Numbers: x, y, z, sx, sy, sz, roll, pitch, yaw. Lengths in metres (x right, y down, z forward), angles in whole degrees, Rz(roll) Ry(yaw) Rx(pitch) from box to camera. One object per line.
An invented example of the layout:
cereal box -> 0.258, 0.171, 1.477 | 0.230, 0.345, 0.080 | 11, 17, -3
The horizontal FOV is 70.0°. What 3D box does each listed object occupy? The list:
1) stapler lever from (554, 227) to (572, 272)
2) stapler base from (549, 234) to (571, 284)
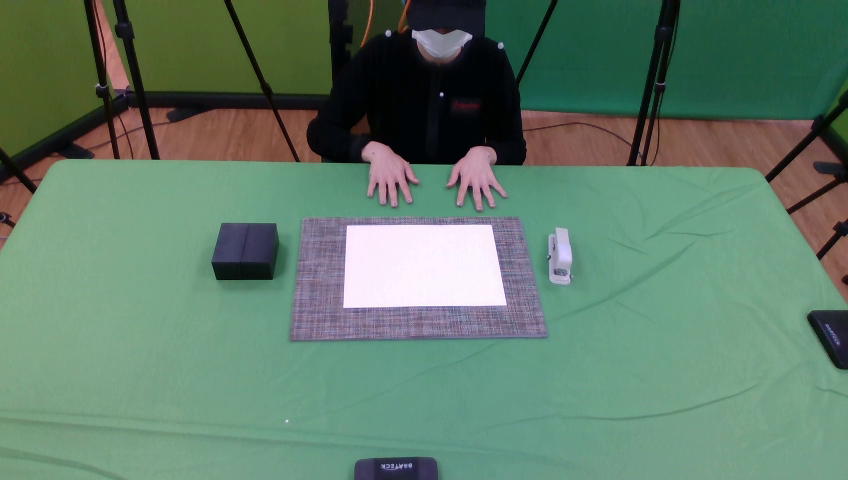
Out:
stapler lever -> 0.268, 0.012, 1.172 | 0.027, 0.040, 0.117 | 8, 45, 2
stapler base -> 0.268, 0.030, 1.188 | 0.041, 0.024, 0.130 | 8, 44, 2
